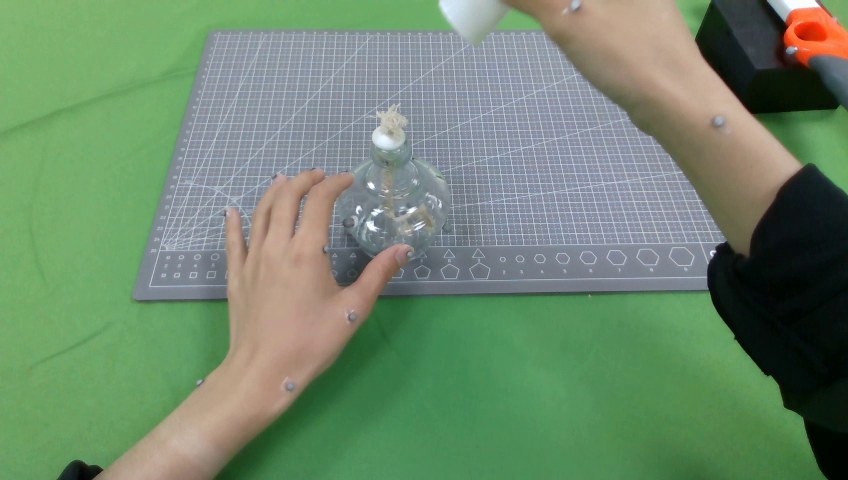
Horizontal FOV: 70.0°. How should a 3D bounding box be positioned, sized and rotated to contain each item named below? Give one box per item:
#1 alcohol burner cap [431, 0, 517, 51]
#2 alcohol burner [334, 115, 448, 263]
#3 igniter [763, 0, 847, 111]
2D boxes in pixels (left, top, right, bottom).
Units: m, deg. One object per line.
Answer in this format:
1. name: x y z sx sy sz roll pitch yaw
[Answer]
1. alcohol burner cap: 0.031 -0.129 0.322 0.034 0.048 0.033 34 34 -27
2. alcohol burner: -0.022 -0.038 0.398 0.078 0.120 0.077 0 56 0
3. igniter: 0.322 -0.184 0.513 0.057 0.025 0.273 -5 52 -2
